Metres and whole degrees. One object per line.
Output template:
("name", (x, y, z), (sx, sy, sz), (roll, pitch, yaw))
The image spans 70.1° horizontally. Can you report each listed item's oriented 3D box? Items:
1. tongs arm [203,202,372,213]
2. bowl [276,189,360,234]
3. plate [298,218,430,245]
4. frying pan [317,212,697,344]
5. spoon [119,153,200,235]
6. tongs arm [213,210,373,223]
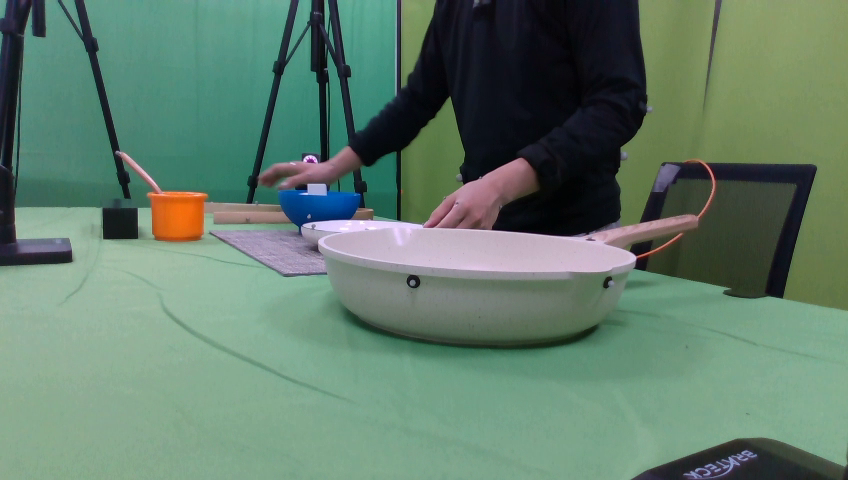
("tongs arm", (-0.312, -0.068, 1.417), (0.387, 0.026, 0.050), (1, 8, -24))
("bowl", (-0.195, -0.051, 1.114), (0.151, 0.077, 0.151), (2, 7, 0))
("plate", (-0.091, -0.006, 0.949), (0.208, 0.039, 0.207), (2, 7, 0))
("frying pan", (0.133, 0.013, 0.629), (0.490, 0.102, 0.305), (-12, 14, -31))
("spoon", (-0.439, -0.077, 1.001), (0.021, 0.193, 0.042), (-43, -6, 21))
("tongs arm", (-0.274, -0.053, 1.346), (0.390, 0.028, 0.028), (-2, 7, -37))
